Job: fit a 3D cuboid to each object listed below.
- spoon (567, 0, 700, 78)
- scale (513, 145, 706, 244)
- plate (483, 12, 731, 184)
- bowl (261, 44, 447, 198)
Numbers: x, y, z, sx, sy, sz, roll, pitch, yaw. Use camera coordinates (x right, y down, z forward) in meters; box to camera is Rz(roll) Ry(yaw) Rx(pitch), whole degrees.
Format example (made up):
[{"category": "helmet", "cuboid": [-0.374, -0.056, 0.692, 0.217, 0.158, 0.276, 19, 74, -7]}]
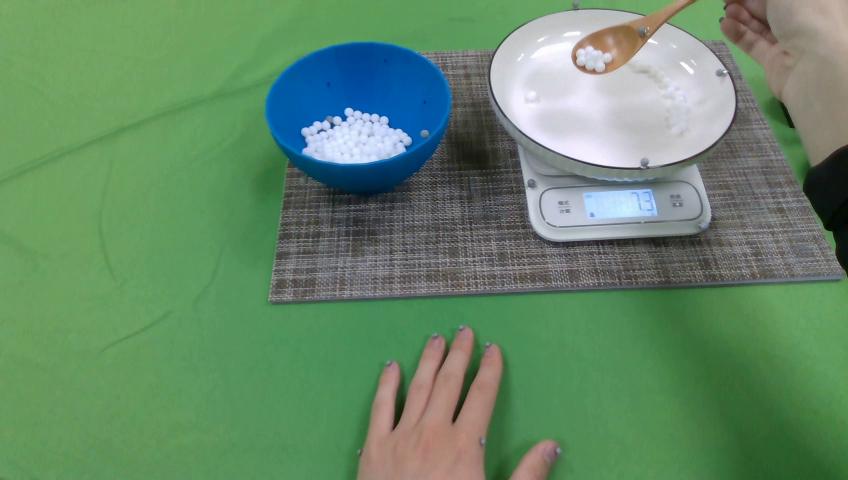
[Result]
[{"category": "spoon", "cuboid": [0.202, -0.180, 0.465, 0.193, 0.022, 0.041, -27, 63, 25]}, {"category": "scale", "cuboid": [0.155, -0.086, 0.541, 0.149, 0.032, 0.199, -3, 54, -1]}, {"category": "plate", "cuboid": [0.154, -0.124, 0.527, 0.209, 0.038, 0.207, 0, 54, 0]}, {"category": "bowl", "cuboid": [-0.055, -0.089, 0.518, 0.151, 0.077, 0.150, -1, 54, 1]}]
